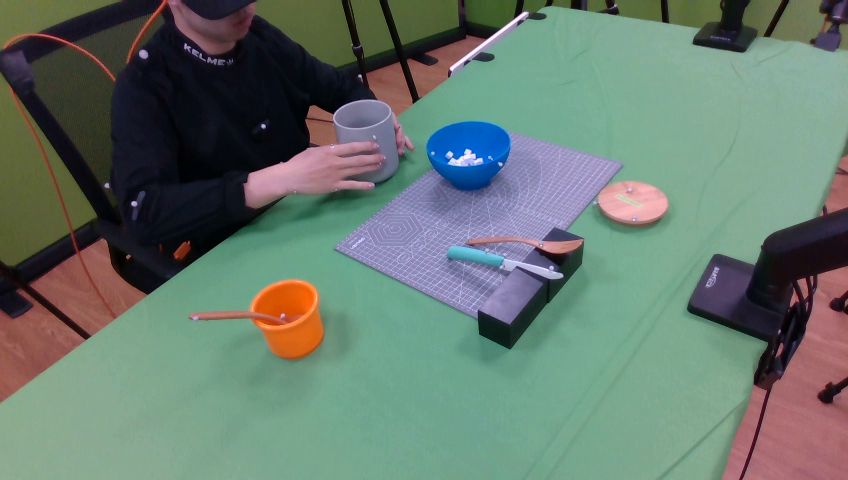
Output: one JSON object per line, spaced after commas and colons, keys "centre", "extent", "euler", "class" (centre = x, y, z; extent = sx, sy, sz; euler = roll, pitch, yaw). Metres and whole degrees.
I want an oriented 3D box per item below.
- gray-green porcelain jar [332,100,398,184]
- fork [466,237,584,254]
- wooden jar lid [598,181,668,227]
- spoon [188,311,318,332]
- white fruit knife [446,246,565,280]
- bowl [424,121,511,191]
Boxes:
{"centre": [-0.105, -0.175, 1.109], "extent": [0.106, 0.127, 0.105], "euler": [-4, 41, 4], "class": "gray-green porcelain jar"}
{"centre": [0.142, 0.005, 0.894], "extent": [0.205, 0.019, 0.028], "euler": [4, 43, 41], "class": "fork"}
{"centre": [0.340, -0.057, 0.989], "extent": [0.108, 0.021, 0.108], "euler": [-5, 41, 5], "class": "wooden jar lid"}
{"centre": [-0.216, 0.102, 0.784], "extent": [0.041, 0.195, 0.021], "euler": [26, 95, 39], "class": "spoon"}
{"centre": [0.111, 0.033, 0.868], "extent": [0.205, 0.027, 0.016], "euler": [11, 44, 40], "class": "white fruit knife"}
{"centre": [0.080, -0.140, 1.074], "extent": [0.151, 0.077, 0.150], "euler": [-4, 40, 4], "class": "bowl"}
